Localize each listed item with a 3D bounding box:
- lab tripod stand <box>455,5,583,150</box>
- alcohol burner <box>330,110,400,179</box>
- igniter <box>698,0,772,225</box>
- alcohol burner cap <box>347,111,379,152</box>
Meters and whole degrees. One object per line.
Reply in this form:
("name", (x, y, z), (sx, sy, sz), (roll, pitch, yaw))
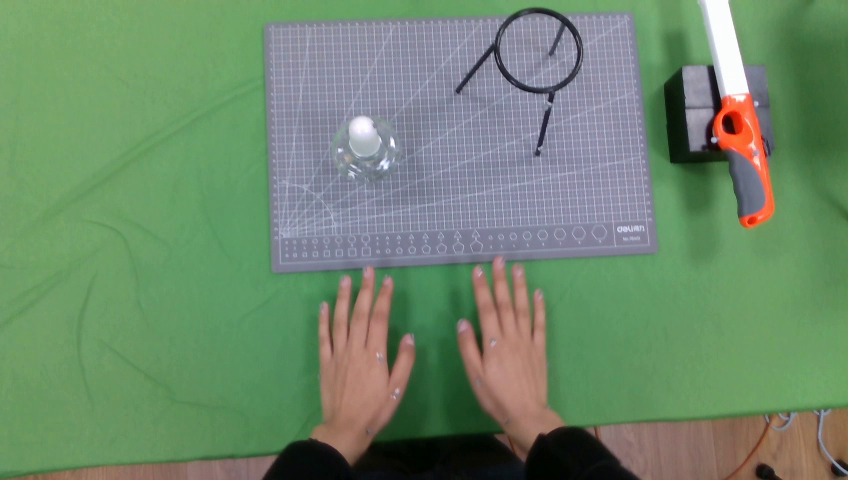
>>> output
("lab tripod stand", (0.112, -0.186, 0.663), (0.148, 0.132, 0.148), (0, 81, -2))
("alcohol burner", (-0.064, -0.107, 0.654), (0.078, 0.119, 0.077), (0, 84, -2))
("igniter", (0.349, -0.153, 0.681), (0.057, 0.025, 0.275), (-6, 81, -1))
("alcohol burner cap", (-0.063, -0.114, 0.619), (0.034, 0.048, 0.033), (1, 76, -3))
